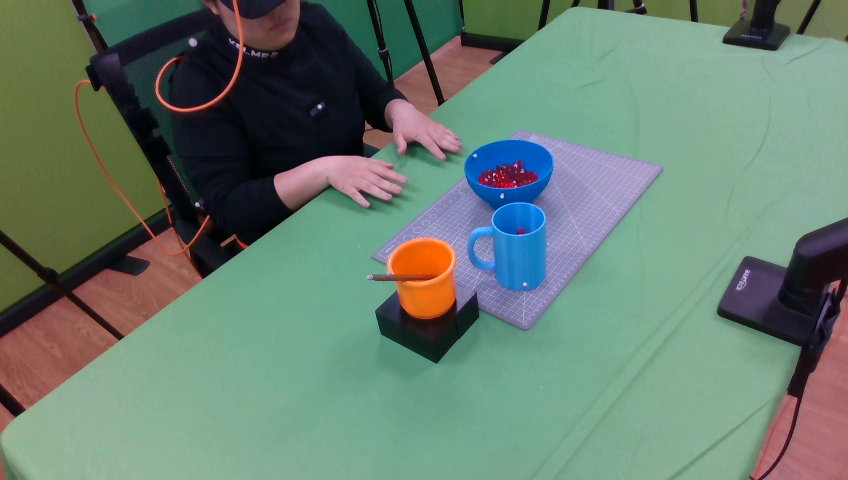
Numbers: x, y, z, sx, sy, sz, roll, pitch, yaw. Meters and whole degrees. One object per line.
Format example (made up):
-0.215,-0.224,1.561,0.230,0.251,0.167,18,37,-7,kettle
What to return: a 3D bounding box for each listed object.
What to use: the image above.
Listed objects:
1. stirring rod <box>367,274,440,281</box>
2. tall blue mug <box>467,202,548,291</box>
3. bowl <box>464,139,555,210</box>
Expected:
-0.021,0.047,0.762,0.014,0.006,0.177,17,5,26,stirring rod
0.125,0.015,0.868,0.107,0.108,0.077,-21,42,-14,tall blue mug
0.145,-0.100,1.025,0.151,0.077,0.150,-5,40,5,bowl
